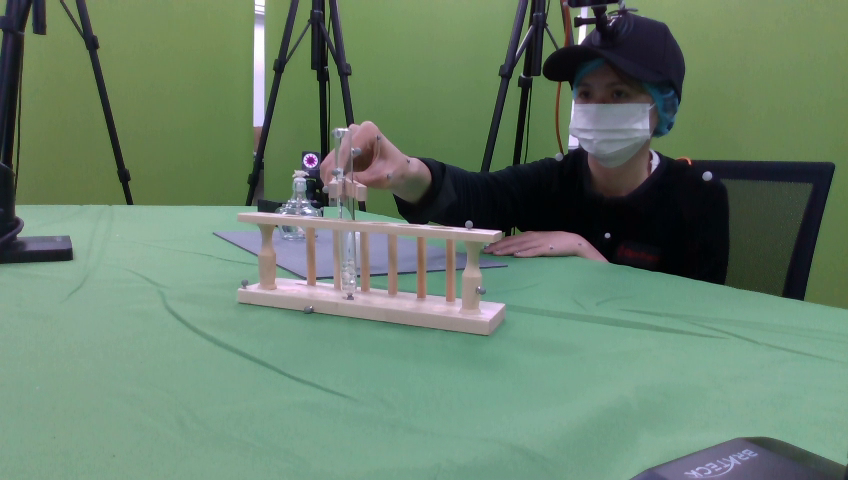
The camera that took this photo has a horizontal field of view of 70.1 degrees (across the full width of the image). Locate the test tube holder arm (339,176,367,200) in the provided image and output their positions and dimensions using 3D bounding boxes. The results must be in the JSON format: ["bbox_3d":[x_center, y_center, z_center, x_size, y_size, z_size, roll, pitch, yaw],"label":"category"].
[{"bbox_3d":[-0.070,-0.049,0.559,0.010,0.015,0.087,2,10,-23],"label":"test tube holder arm"}]

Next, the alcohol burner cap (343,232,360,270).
[{"bbox_3d":[-0.087,0.013,0.777,0.034,0.048,0.034,3,7,0],"label":"alcohol burner cap"}]

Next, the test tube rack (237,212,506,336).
[{"bbox_3d":[-0.049,0.024,0.552,0.242,0.085,0.067,5,8,19],"label":"test tube rack"}]

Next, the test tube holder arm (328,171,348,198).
[{"bbox_3d":[-0.084,-0.057,0.600,0.013,0.015,0.178,6,9,-7],"label":"test tube holder arm"}]

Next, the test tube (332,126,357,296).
[{"bbox_3d":[-0.070,-0.025,0.533,0.017,0.150,0.017,-1,8,1],"label":"test tube"}]

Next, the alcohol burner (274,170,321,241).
[{"bbox_3d":[-0.212,-0.058,1.015,0.078,0.119,0.078,4,5,0],"label":"alcohol burner"}]
